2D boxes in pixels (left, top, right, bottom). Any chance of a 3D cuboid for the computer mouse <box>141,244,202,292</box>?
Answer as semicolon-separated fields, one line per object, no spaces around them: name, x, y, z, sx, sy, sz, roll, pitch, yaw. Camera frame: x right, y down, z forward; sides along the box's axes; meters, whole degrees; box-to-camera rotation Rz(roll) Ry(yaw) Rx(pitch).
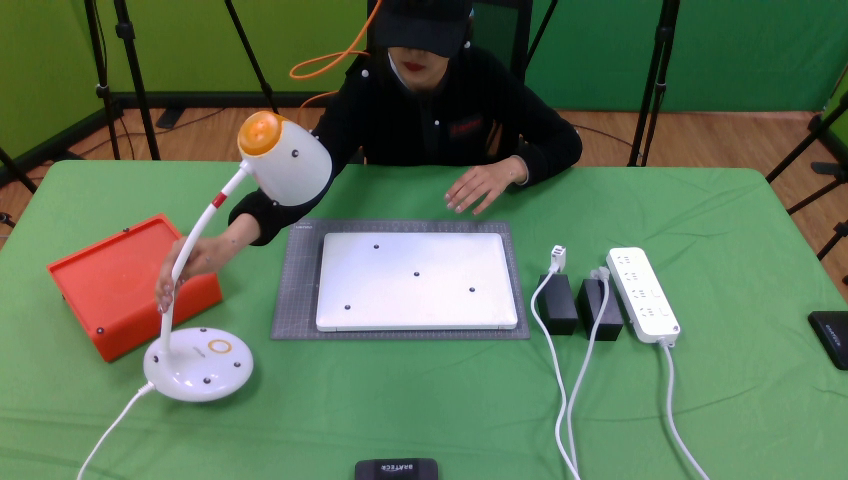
computer mouse;-0.460;0.044;1.099;0.116;0.041;0.063;30;52;29

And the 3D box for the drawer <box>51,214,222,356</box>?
drawer;-0.495;0.072;1.053;0.212;0.073;0.193;-32;57;-29

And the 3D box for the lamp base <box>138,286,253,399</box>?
lamp base;-0.338;0.127;0.900;0.160;0.181;0.179;27;32;20

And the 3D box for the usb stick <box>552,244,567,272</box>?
usb stick;0.251;0.039;1.124;0.021;0.059;0.027;14;48;26

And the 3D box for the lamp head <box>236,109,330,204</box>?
lamp head;-0.207;-0.121;0.842;0.112;0.123;0.112;-6;70;17

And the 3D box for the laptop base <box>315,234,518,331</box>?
laptop base;-0.016;0.074;1.124;0.355;0.023;0.234;0;42;-4

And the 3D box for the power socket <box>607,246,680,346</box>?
power socket;0.403;0.096;1.123;0.072;0.033;0.225;-2;46;-5

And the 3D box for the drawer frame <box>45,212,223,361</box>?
drawer frame;-0.496;0.073;1.049;0.213;0.083;0.200;-33;56;-29

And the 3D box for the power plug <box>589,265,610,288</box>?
power plug;0.317;0.073;1.108;0.035;0.053;0.072;26;34;13

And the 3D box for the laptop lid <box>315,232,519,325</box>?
laptop lid;-0.015;0.065;1.118;0.357;0.013;0.240;1;43;-3

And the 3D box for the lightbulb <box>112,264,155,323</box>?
lightbulb;-0.494;0.091;1.045;0.059;0.060;0.107;9;62;5
